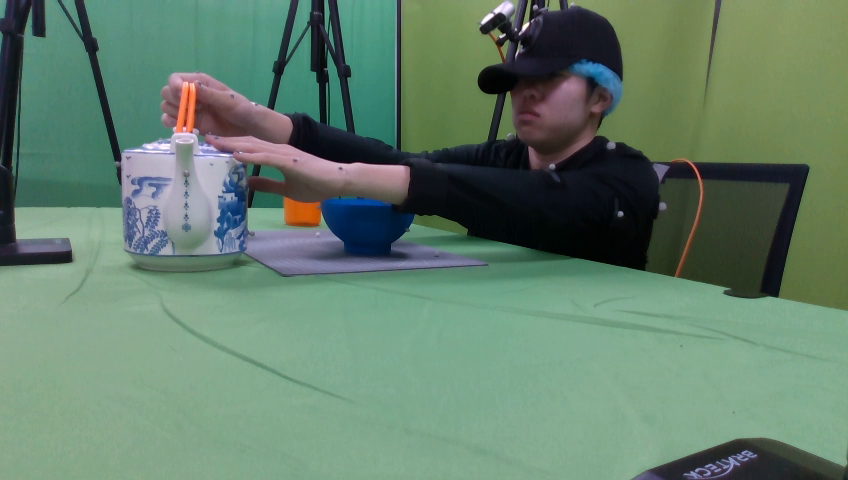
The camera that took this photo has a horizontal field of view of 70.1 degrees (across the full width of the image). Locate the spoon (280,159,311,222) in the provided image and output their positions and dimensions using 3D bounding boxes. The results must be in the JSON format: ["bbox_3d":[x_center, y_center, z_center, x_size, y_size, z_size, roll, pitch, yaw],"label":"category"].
[{"bbox_3d":[-0.285,-0.111,1.320,0.042,0.193,0.021,-3,-35,-31],"label":"spoon"}]

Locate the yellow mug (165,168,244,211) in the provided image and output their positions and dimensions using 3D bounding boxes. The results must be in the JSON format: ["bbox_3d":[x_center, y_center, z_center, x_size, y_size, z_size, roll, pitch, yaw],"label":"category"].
[{"bbox_3d":[-0.370,-0.086,1.027,0.131,0.064,0.100,5,8,4],"label":"yellow mug"}]

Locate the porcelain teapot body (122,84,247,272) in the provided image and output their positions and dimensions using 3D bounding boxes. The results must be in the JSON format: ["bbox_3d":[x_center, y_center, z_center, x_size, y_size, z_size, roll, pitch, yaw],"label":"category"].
[{"bbox_3d":[-0.286,-0.075,0.733,0.146,0.225,0.204,0,8,-24],"label":"porcelain teapot body"}]

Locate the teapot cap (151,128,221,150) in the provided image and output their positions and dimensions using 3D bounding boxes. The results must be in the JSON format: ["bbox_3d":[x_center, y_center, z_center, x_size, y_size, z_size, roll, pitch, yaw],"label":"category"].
[{"bbox_3d":[-0.295,-0.117,0.753,0.085,0.044,0.085,5,9,0],"label":"teapot cap"}]

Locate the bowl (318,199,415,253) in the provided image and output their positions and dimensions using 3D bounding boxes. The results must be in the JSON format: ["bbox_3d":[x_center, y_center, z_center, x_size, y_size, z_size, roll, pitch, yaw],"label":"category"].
[{"bbox_3d":[-0.089,-0.022,0.940,0.151,0.077,0.151,2,6,0],"label":"bowl"}]
